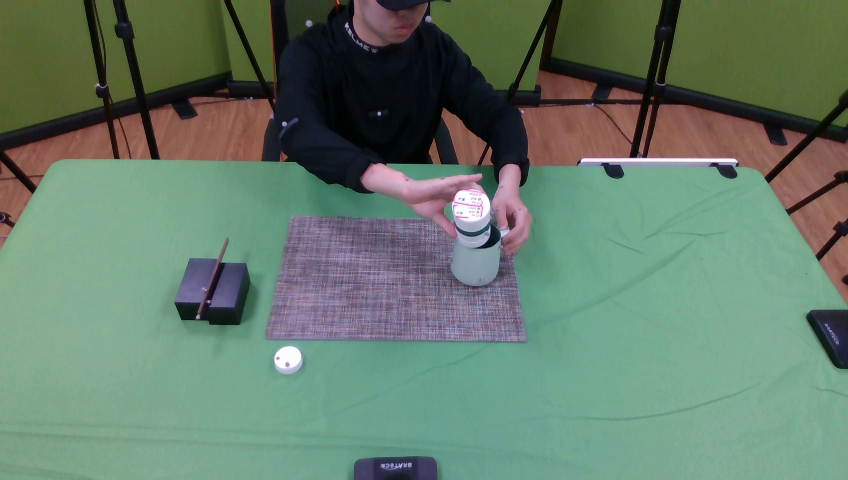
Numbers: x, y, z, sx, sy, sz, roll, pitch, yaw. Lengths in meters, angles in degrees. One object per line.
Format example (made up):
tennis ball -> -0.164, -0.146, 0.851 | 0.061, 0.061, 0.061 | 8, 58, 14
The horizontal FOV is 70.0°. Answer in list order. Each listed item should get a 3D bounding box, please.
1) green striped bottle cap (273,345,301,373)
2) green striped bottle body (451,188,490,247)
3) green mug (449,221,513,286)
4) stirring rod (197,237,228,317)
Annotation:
green striped bottle cap -> -0.225, 0.195, 0.997 | 0.044, 0.020, 0.044 | 2, 50, -2
green striped bottle body -> 0.080, -0.031, 1.027 | 0.063, 0.120, 0.063 | -2, 63, 5
green mug -> 0.110, 0.018, 1.126 | 0.125, 0.105, 0.092 | -19, 50, -21
stirring rod -> -0.363, 0.060, 1.047 | 0.006, 0.014, 0.175 | 7, 46, -4
